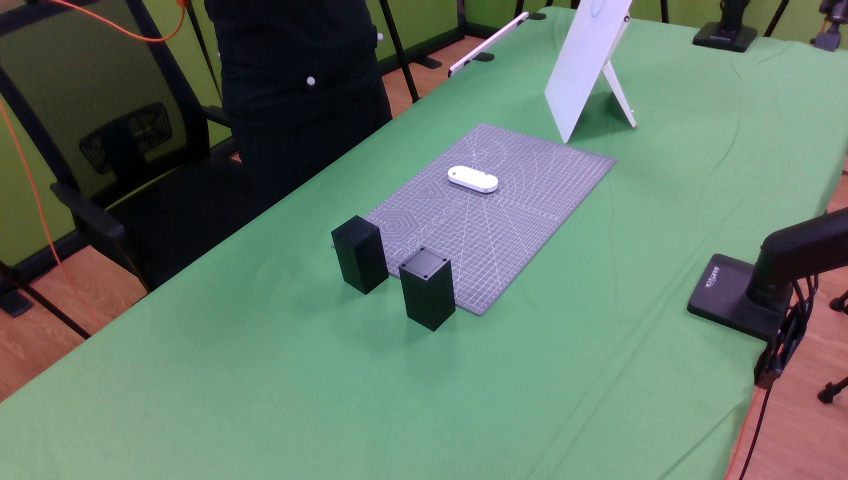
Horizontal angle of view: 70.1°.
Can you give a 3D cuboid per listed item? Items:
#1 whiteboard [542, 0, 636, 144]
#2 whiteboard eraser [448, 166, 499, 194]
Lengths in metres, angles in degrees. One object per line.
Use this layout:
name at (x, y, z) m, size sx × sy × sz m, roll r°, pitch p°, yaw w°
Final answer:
whiteboard at (0.366, -0.351, 1.160) m, size 0.144 × 0.305 × 0.216 m, roll 10°, pitch 39°, yaw -10°
whiteboard eraser at (0.088, -0.108, 1.082) m, size 0.100 × 0.019 × 0.041 m, roll 22°, pitch 49°, yaw 31°
